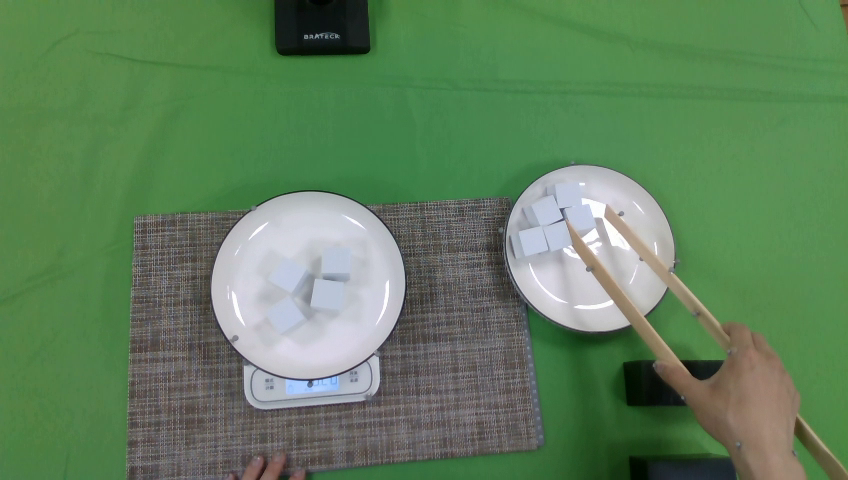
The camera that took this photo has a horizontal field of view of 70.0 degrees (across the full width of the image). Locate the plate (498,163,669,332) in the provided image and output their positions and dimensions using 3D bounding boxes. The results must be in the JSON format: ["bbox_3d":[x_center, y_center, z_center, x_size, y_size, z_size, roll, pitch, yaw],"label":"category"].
[{"bbox_3d":[0.189,0.010,0.735,0.208,0.039,0.206,1,77,-5],"label":"plate"}]

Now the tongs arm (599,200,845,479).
[{"bbox_3d":[0.284,0.098,0.631,0.051,0.027,0.380,-22,55,-16],"label":"tongs arm"}]

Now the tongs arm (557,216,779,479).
[{"bbox_3d":[0.251,0.111,0.623,0.028,0.028,0.383,-20,54,-18],"label":"tongs arm"}]

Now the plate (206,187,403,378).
[{"bbox_3d":[-0.128,0.045,0.663,0.209,0.038,0.208,1,77,-5],"label":"plate"}]

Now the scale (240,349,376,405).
[{"bbox_3d":[-0.133,0.081,0.688,0.149,0.031,0.200,-3,77,-6],"label":"scale"}]
